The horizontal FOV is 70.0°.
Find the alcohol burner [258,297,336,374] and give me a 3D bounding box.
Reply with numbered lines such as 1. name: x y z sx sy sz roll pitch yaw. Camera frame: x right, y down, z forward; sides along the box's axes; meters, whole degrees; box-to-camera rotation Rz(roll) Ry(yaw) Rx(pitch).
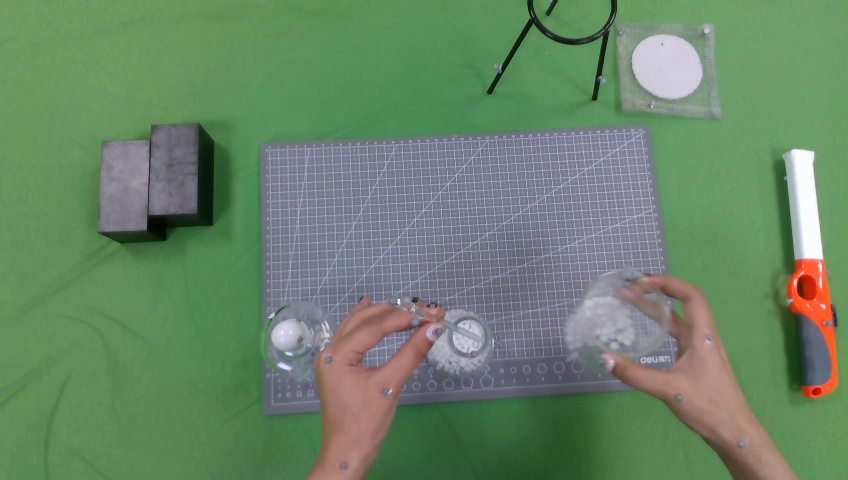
1. alcohol burner: -0.128 0.092 0.594 0.078 0.119 0.077 0 77 0

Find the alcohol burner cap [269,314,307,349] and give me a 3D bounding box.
1. alcohol burner cap: -0.127 0.084 0.559 0.034 0.048 0.033 1 81 -5

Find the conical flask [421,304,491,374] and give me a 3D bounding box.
1. conical flask: 0.036 0.094 0.596 0.075 0.122 0.075 0 78 -2

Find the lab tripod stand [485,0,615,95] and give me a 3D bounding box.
1. lab tripod stand: 0.140 -0.223 0.661 0.148 0.132 0.148 0 80 -2

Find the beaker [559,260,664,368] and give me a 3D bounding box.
1. beaker: 0.165 0.071 0.550 0.074 0.101 0.083 12 70 7

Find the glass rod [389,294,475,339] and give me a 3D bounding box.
1. glass rod: 0.012 0.063 0.480 0.008 0.201 0.008 -5 73 18

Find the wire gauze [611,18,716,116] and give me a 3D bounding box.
1. wire gauze: 0.289 -0.211 0.728 0.125 0.011 0.121 3 79 -3

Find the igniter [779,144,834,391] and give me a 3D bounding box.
1. igniter: 0.425 0.027 0.675 0.057 0.025 0.275 4 78 -12
